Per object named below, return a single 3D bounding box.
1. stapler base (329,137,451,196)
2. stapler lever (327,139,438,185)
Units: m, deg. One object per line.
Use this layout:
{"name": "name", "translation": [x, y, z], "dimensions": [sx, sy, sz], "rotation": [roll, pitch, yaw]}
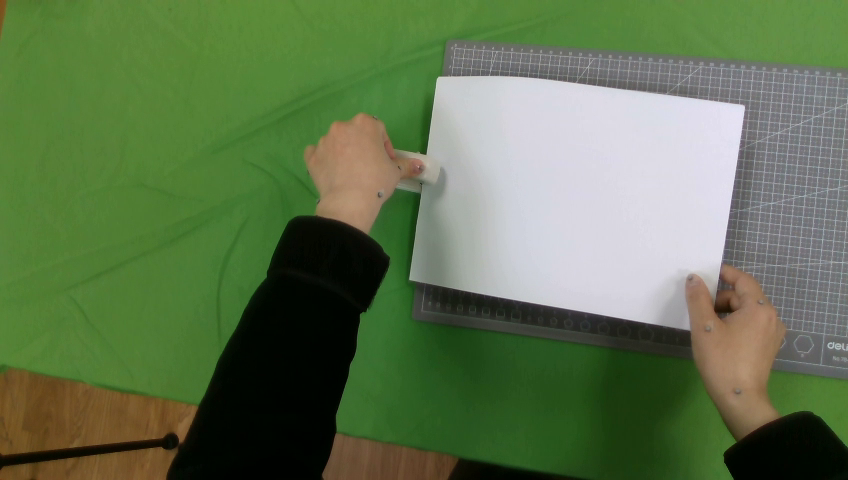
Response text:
{"name": "stapler base", "translation": [-0.039, -0.079, 0.636], "dimensions": [0.130, 0.024, 0.041], "rotation": [13, 88, 10]}
{"name": "stapler lever", "translation": [-0.044, -0.080, 0.613], "dimensions": [0.118, 0.040, 0.027], "rotation": [13, 88, 9]}
